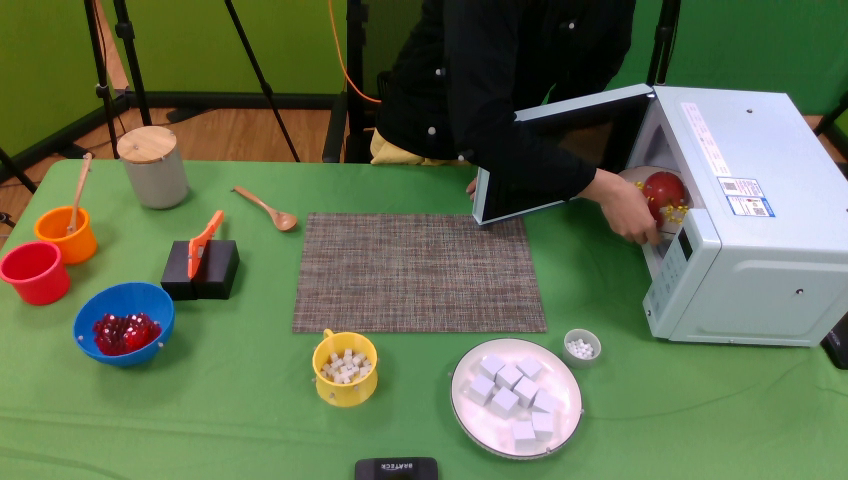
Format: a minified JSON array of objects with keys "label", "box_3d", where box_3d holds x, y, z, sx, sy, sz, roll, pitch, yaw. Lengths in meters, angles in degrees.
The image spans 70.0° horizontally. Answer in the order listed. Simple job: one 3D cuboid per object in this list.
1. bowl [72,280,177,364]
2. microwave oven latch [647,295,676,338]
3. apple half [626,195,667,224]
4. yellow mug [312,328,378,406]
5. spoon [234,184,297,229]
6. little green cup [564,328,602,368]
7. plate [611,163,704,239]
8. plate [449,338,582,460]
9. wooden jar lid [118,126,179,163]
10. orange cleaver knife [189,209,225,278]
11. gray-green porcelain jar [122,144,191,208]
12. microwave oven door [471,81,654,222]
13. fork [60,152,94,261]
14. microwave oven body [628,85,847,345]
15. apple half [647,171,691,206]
[{"label":"bowl","box_3d":[-0.473,0.146,0.982,0.151,0.077,0.150,2,46,-2]},{"label":"microwave oven latch","box_3d":[0.412,0.133,1.060,0.030,0.029,0.078,4,46,1]},{"label":"apple half","box_3d":[0.419,-0.065,1.140,0.081,0.033,0.081,1,42,-1]},{"label":"yellow mug","box_3d":[-0.132,0.193,0.971,0.100,0.064,0.130,-22,51,-22]},{"label":"spoon","box_3d":[-0.328,-0.073,1.240,0.193,0.022,0.041,34,70,25]},{"label":"little green cup","box_3d":[0.266,0.185,1.025,0.061,0.039,0.061,2,43,-2]},{"label":"plate","box_3d":[0.461,-0.071,1.167,0.209,0.038,0.208,3,43,-3]},{"label":"plate","box_3d":[0.141,0.251,0.955,0.208,0.039,0.206,2,46,-2]},{"label":"wooden jar lid","box_3d":[-0.528,-0.181,1.167,0.108,0.021,0.107,4,48,-4]},{"label":"orange cleaver knife","box_3d":[-0.401,0.002,1.122,0.012,0.077,0.210,4,23,-4]},{"label":"gray-green porcelain jar","box_3d":[-0.531,-0.137,1.214,0.106,0.127,0.105,2,47,-2]},{"label":"microwave oven door","box_3d":[0.272,-0.175,1.203,0.356,0.245,0.039,-16,50,-18]},{"label":"fork","box_3d":[-0.638,-0.063,1.120,0.028,0.018,0.207,12,90,6]},{"label":"microwave oven body","box_3d":[0.568,-0.054,1.116,0.326,0.261,0.439,2,46,-1]},{"label":"apple half","box_3d":[0.476,-0.105,1.174,0.080,0.053,0.074,5,34,16]}]
